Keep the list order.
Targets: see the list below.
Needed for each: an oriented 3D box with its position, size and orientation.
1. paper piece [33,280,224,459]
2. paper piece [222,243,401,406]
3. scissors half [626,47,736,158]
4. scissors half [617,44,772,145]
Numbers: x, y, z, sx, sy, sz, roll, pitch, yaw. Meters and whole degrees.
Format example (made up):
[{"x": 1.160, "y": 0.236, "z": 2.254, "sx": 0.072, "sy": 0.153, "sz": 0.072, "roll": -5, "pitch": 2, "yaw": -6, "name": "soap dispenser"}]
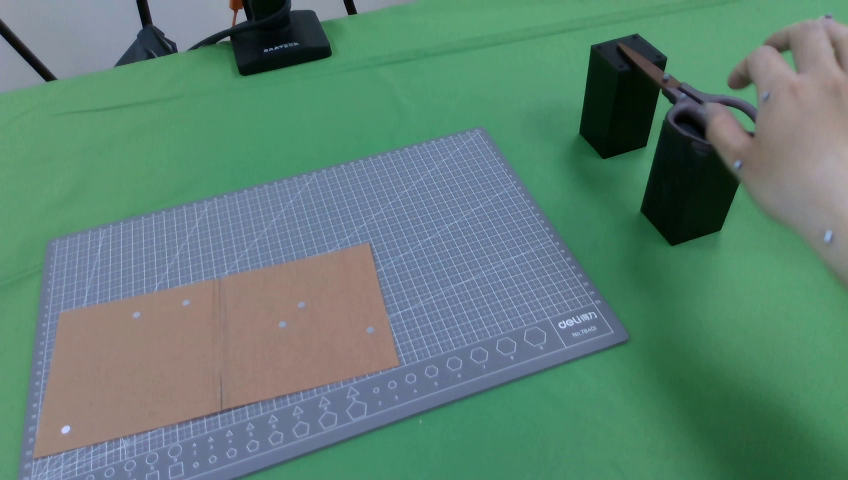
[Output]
[{"x": -0.227, "y": 0.094, "z": 0.481, "sx": 0.138, "sy": 0.009, "sz": 0.134, "roll": -13, "pitch": 43, "yaw": -6, "name": "paper piece"}, {"x": -0.098, "y": 0.063, "z": 0.497, "sx": 0.136, "sy": 0.004, "sz": 0.134, "roll": -12, "pitch": 46, "yaw": -7, "name": "paper piece"}, {"x": 0.201, "y": -0.123, "z": 0.508, "sx": 0.040, "sy": 0.013, "sz": 0.173, "roll": -11, "pitch": 46, "yaw": -4, "name": "scissors half"}, {"x": 0.220, "y": -0.130, "z": 0.511, "sx": 0.040, "sy": 0.013, "sz": 0.173, "roll": -27, "pitch": 48, "yaw": -12, "name": "scissors half"}]
